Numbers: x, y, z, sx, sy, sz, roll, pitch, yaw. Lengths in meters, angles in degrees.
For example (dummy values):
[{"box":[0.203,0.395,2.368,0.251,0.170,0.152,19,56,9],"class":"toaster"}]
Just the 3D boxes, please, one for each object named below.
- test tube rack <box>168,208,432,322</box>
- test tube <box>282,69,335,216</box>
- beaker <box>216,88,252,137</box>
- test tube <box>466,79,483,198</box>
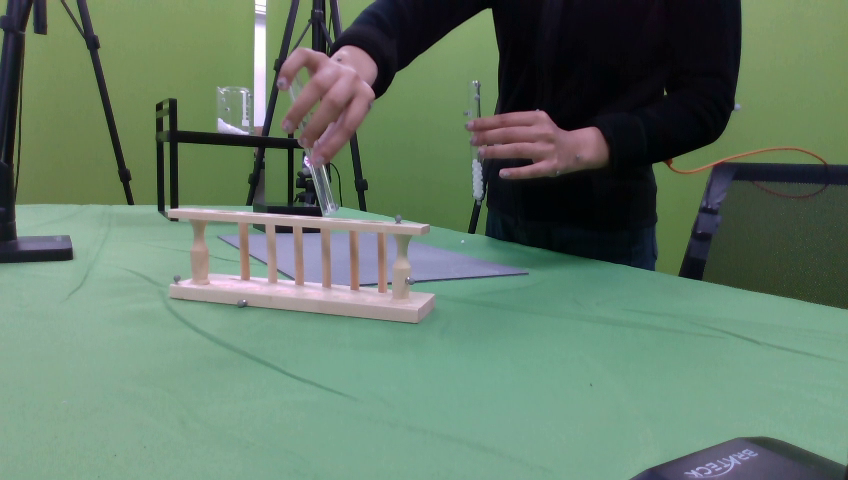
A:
[{"box":[-0.116,0.018,0.574,0.242,0.085,0.067,4,7,14],"class":"test tube rack"},{"box":[-0.113,-0.096,0.589,0.017,0.150,0.017,-16,-5,-1],"class":"test tube"},{"box":[-0.412,-0.276,1.309,0.074,0.100,0.084,4,8,16],"class":"beaker"},{"box":[0.064,-0.127,0.766,0.017,0.150,0.017,-4,13,1],"class":"test tube"}]
